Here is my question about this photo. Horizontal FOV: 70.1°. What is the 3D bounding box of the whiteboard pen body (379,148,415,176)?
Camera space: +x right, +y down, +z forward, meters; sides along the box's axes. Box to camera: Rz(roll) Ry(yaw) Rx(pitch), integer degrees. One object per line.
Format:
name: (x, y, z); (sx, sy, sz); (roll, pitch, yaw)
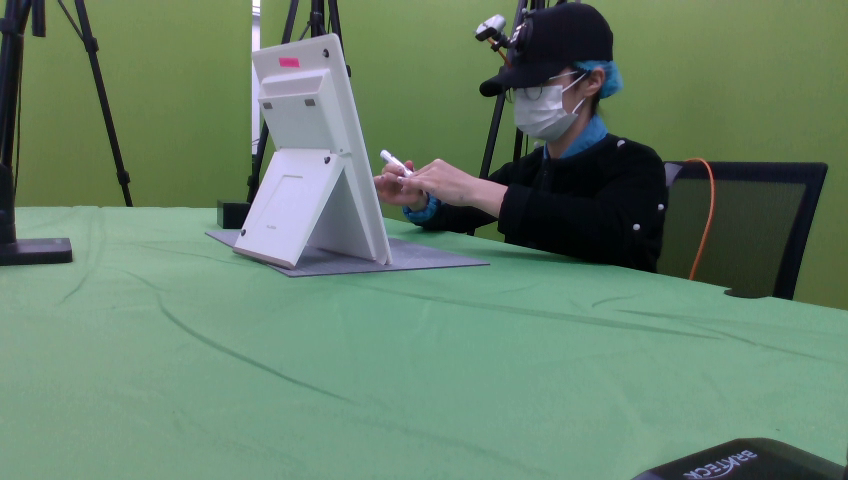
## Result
whiteboard pen body: (-0.043, -0.134, 1.088); (0.017, 0.017, 0.140); (-3, 30, -36)

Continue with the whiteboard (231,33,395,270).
whiteboard: (-0.193, -0.094, 0.805); (0.144, 0.305, 0.216); (-28, 25, -35)

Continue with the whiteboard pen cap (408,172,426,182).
whiteboard pen cap: (-0.013, -0.109, 1.042); (0.017, 0.017, 0.032); (-5, 10, -43)
